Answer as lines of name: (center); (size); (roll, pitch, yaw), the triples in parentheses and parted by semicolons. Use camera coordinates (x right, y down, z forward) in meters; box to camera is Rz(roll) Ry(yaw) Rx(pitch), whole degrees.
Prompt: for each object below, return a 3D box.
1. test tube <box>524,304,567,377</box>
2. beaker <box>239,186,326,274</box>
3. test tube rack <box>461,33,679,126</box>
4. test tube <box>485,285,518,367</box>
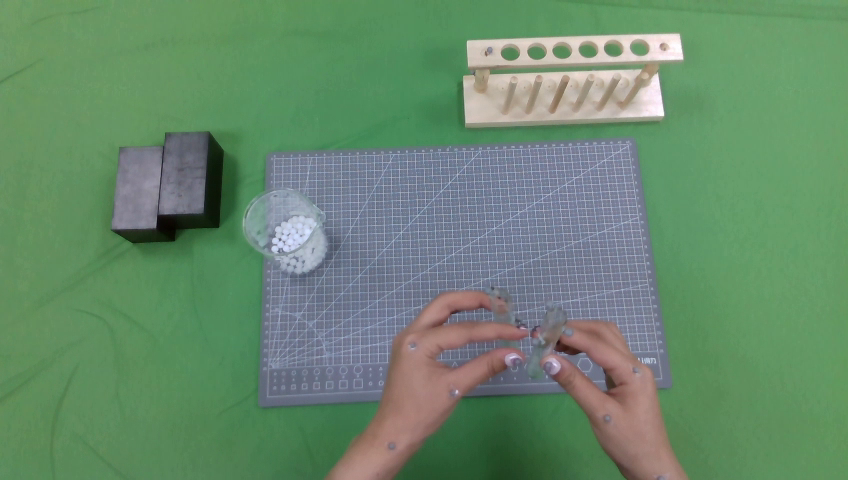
test tube: (0.093, 0.084, 0.479); (0.017, 0.151, 0.017); (-1, 63, 3)
beaker: (-0.145, -0.007, 0.658); (0.084, 0.101, 0.073); (-10, 74, -3)
test tube rack: (0.168, -0.189, 0.720); (0.242, 0.085, 0.066); (-2, 74, 0)
test tube: (0.067, 0.077, 0.513); (0.017, 0.152, 0.017); (-6, 59, 10)
